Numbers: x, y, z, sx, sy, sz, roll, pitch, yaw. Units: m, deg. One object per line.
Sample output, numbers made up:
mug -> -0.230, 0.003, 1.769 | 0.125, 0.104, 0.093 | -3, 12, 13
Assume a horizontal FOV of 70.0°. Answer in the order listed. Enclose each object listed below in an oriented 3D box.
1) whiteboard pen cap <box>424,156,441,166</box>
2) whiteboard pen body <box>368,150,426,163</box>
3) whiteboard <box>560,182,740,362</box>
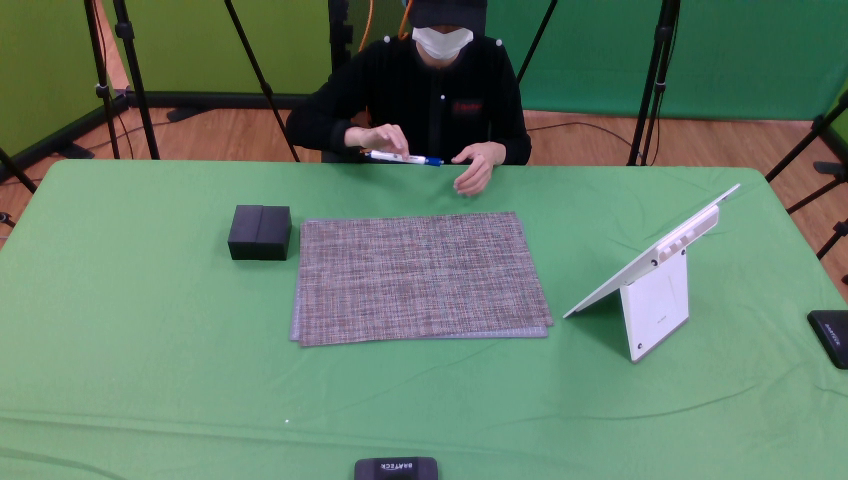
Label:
whiteboard pen cap -> 0.017, -0.159, 1.213 | 0.033, 0.018, 0.018 | 8, 46, 7
whiteboard pen body -> -0.044, -0.167, 1.221 | 0.141, 0.017, 0.017 | 7, 46, 7
whiteboard -> 0.406, 0.075, 1.001 | 0.217, 0.306, 0.143 | -28, 73, -28
